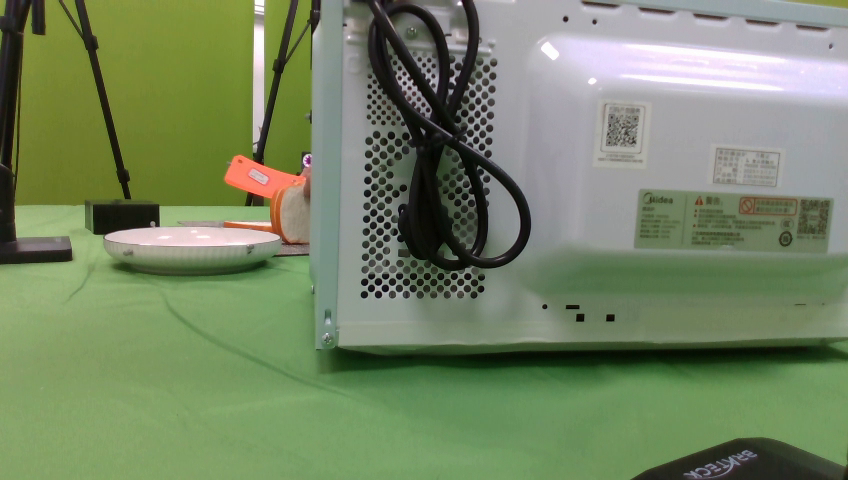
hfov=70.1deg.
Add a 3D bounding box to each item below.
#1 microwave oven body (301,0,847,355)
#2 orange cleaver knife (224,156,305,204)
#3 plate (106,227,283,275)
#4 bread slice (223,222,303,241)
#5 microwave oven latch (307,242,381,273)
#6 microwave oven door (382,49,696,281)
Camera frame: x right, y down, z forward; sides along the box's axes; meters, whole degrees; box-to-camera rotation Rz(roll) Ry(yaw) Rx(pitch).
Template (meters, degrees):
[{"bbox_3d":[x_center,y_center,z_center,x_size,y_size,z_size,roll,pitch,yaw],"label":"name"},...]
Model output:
[{"bbox_3d":[0.120,-0.053,0.535,0.443,0.260,0.325,2,7,-11],"label":"microwave oven body"},{"bbox_3d":[-0.258,-0.101,1.108,0.212,0.077,0.012,13,-35,-30],"label":"orange cleaver knife"},{"bbox_3d":[-0.288,0.013,0.772,0.208,0.039,0.207,2,7,0],"label":"plate"},{"bbox_3d":[-0.275,-0.014,1.041,0.135,0.018,0.106,8,-3,-42],"label":"bread slice"},{"bbox_3d":[-0.086,0.019,0.656,0.079,0.029,0.030,2,7,-10],"label":"microwave oven latch"},{"bbox_3d":[0.135,-0.077,0.685,0.357,0.243,0.039,1,8,-12],"label":"microwave oven door"}]
